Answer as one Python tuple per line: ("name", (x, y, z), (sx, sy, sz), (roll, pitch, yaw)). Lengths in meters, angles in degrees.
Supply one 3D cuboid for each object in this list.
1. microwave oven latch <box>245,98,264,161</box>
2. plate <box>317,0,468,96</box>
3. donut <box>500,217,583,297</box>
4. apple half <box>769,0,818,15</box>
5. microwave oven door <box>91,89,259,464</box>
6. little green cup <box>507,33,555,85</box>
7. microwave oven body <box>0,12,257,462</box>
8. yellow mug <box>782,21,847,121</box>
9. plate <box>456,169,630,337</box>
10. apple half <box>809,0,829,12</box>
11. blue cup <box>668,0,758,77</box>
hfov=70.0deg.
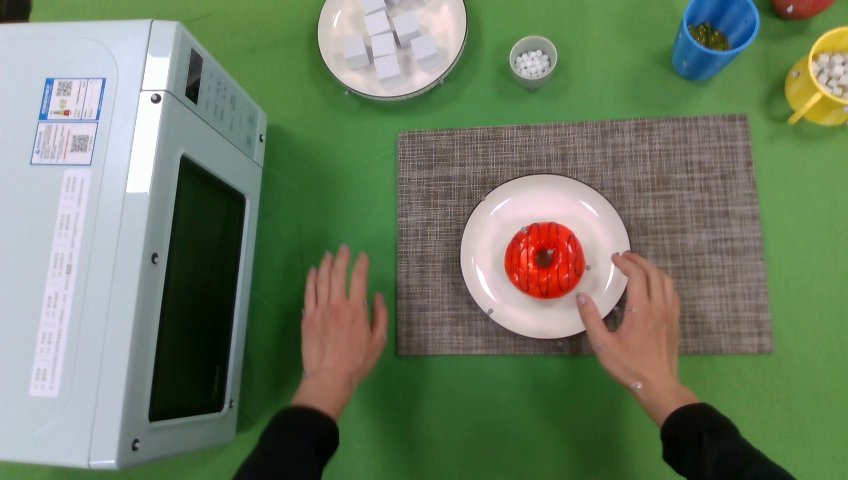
("microwave oven latch", (-0.233, -0.148, 0.813), (0.030, 0.029, 0.079), (3, 80, 7))
("plate", (-0.042, -0.291, 0.834), (0.207, 0.039, 0.206), (-1, 79, 7))
("donut", (0.143, 0.020, 0.737), (0.099, 0.048, 0.098), (-1, 82, 8))
("apple half", (0.460, -0.326, 0.759), (0.053, 0.075, 0.080), (4, 83, 11))
("microwave oven door", (-0.261, 0.048, 0.675), (0.039, 0.245, 0.354), (1, 79, 8))
("little green cup", (0.141, -0.237, 0.801), (0.061, 0.039, 0.061), (-1, 79, 7))
("microwave oven body", (-0.402, 0.003, 0.707), (0.325, 0.261, 0.440), (1, 80, 7))
("yellow mug", (0.489, -0.193, 0.734), (0.131, 0.064, 0.099), (-43, 77, -1))
("plate", (0.145, 0.016, 0.749), (0.209, 0.038, 0.208), (-1, 79, 7))
("apple half", (0.499, -0.323, 0.752), (0.032, 0.082, 0.081), (4, 79, 12))
("blue cup", (0.345, -0.249, 0.745), (0.092, 0.100, 0.092), (-1, 80, 7))
